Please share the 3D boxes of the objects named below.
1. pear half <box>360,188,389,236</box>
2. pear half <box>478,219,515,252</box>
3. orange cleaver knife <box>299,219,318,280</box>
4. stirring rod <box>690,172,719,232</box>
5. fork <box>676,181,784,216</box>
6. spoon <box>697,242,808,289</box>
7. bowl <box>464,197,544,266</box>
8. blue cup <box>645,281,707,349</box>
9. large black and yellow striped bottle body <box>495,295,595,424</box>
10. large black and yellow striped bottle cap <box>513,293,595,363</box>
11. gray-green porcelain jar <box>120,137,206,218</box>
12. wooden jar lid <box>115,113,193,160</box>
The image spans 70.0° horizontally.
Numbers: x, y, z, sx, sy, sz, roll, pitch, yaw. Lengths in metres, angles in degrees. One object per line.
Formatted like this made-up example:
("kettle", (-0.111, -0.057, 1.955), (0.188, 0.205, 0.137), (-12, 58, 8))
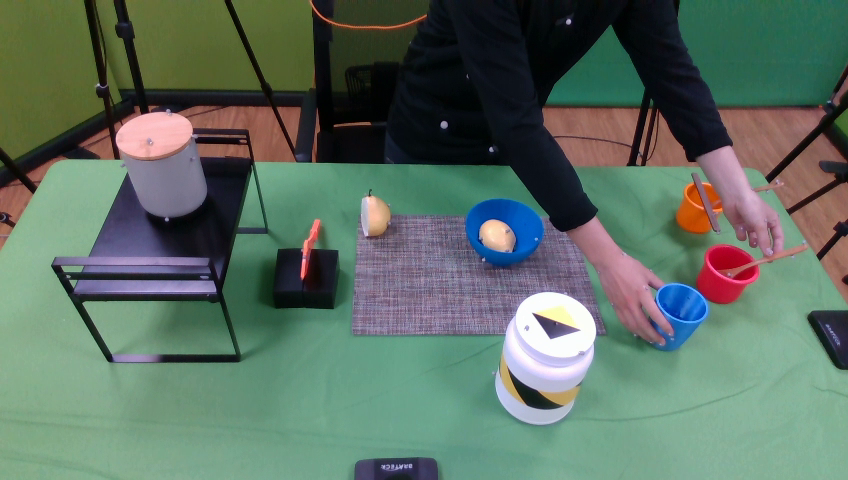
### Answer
("pear half", (-0.096, -0.060, 1.181), (0.056, 0.110, 0.076), (-13, 52, -17))
("pear half", (0.143, -0.010, 1.164), (0.070, 0.031, 0.087), (-18, 54, -13))
("orange cleaver knife", (-0.214, 0.013, 1.126), (0.012, 0.077, 0.210), (5, 17, -5))
("stirring rod", (0.566, -0.080, 1.225), (0.014, 0.006, 0.175), (3, 46, 1))
("fork", (0.618, -0.083, 1.234), (0.207, 0.019, 0.028), (-23, 20, 38))
("spoon", (0.601, 0.046, 1.114), (0.194, 0.022, 0.041), (-29, 42, 31))
("bowl", (0.149, -0.004, 1.167), (0.151, 0.077, 0.150), (3, 46, -2))
("blue cup", (0.425, 0.136, 1.042), (0.093, 0.101, 0.092), (1, 46, -1))
("large black and yellow striped bottle body", (0.183, 0.182, 0.923), (0.131, 0.185, 0.130), (2, 46, -2))
("large black and yellow striped bottle cap", (0.186, 0.123, 0.863), (0.115, 0.019, 0.114), (3, 45, -3))
("gray-green porcelain jar", (-0.403, -0.106, 0.946), (0.106, 0.127, 0.105), (3, 46, -2))
("wooden jar lid", (-0.399, -0.151, 0.900), (0.108, 0.021, 0.107), (3, 46, -3))
